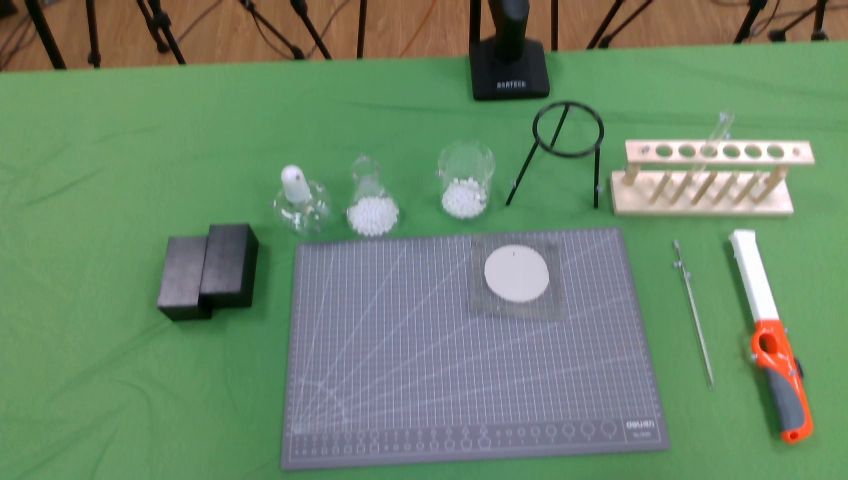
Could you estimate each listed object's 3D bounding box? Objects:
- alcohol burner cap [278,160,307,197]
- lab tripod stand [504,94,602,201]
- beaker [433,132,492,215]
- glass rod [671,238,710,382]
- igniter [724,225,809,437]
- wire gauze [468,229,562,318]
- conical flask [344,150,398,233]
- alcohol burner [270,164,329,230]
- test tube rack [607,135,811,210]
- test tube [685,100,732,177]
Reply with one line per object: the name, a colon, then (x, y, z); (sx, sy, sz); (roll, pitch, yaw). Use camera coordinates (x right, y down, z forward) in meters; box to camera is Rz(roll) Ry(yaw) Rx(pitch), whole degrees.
alcohol burner cap: (-0.170, -0.082, 0.775); (0.034, 0.048, 0.033); (0, 56, 0)
lab tripod stand: (0.178, -0.118, 0.818); (0.148, 0.132, 0.147); (-1, 65, 1)
beaker: (0.053, -0.084, 0.822); (0.074, 0.101, 0.083); (-19, 64, -8)
glass rod: (0.342, 0.085, 0.780); (0.008, 0.008, 0.198); (-2, 62, 0)
igniter: (0.427, 0.105, 0.759); (0.057, 0.025, 0.274); (3, 62, -8)
wire gauze: (0.121, 0.040, 0.805); (0.125, 0.011, 0.120); (5, 63, 1)
conical flask: (-0.075, -0.067, 0.802); (0.075, 0.123, 0.074); (0, 62, 1)
alcohol burner: (-0.169, -0.063, 0.806); (0.078, 0.120, 0.077); (-1, 63, 3)
test tube rack: (0.385, -0.091, 0.828); (0.242, 0.086, 0.066); (0, 62, 1)
test tube: (0.367, -0.127, 0.791); (0.017, 0.151, 0.017); (-2, 62, 4)
